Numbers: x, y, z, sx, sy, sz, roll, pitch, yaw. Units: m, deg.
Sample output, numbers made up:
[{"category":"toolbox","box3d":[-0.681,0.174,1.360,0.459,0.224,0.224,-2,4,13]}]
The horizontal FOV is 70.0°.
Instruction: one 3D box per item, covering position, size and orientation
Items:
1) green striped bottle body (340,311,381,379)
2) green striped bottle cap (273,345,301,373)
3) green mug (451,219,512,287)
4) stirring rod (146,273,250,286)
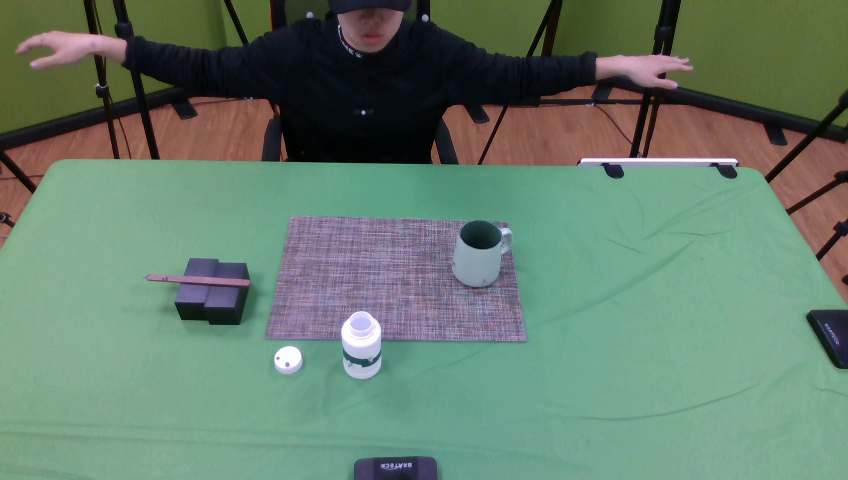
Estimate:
[{"category":"green striped bottle body","box3d":[-0.101,0.165,0.964,0.063,0.120,0.063,2,46,-2]},{"category":"green striped bottle cap","box3d":[-0.225,0.195,0.997,0.044,0.020,0.044,3,50,-3]},{"category":"green mug","box3d":[0.112,0.019,1.125,0.125,0.105,0.092,-24,52,-24]},{"category":"stirring rod","box3d":[-0.389,0.068,1.044,0.176,0.006,0.014,3,46,-2]}]
